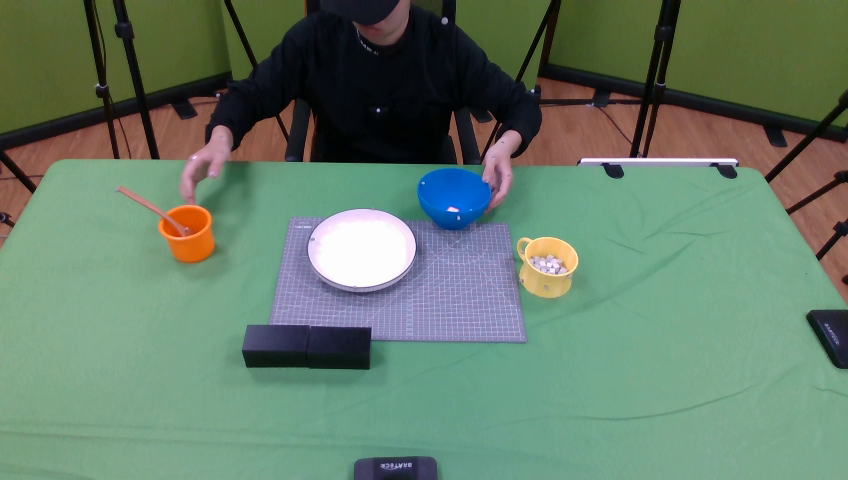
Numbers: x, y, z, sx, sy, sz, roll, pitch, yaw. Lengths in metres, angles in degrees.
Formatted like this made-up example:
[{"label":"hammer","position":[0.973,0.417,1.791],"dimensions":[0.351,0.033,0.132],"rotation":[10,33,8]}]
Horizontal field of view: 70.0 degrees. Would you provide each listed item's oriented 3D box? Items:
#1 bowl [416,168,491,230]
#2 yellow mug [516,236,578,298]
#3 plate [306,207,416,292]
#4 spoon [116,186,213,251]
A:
[{"label":"bowl","position":[0.057,-0.073,1.231],"dimensions":[0.151,0.077,0.150],"rotation":[3,41,-2]},{"label":"yellow mug","position":[0.223,0.041,1.145],"dimensions":[0.100,0.064,0.130],"rotation":[-30,54,-29]},{"label":"plate","position":[-0.119,0.021,1.153],"dimensions":[0.209,0.038,0.208],"rotation":[2,46,-2]},{"label":"spoon","position":[-0.474,-0.041,1.112],"dimensions":[0.021,0.195,0.041],"rotation":[-31,31,29]}]
